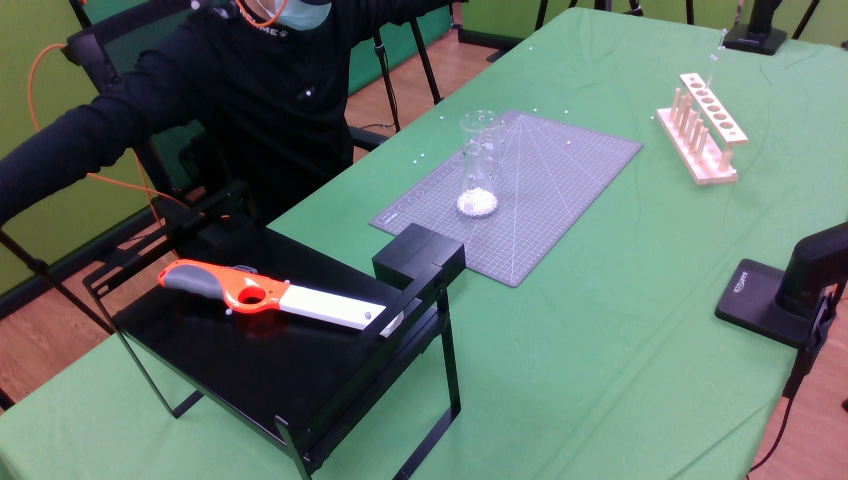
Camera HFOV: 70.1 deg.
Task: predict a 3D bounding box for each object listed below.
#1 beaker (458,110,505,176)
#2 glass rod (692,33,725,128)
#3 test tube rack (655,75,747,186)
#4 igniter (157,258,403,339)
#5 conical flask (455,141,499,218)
[{"bbox_3d":[0.106,-0.174,1.097,0.084,0.101,0.074,5,42,13],"label":"beaker"},{"bbox_3d":[0.501,-0.277,1.073,0.008,0.200,0.008,-3,50,4],"label":"glass rod"},{"bbox_3d":[0.491,-0.205,1.092,0.067,0.085,0.241,-5,40,3],"label":"test tube rack"},{"bbox_3d":[-0.157,0.059,0.638,0.275,0.025,0.057,11,43,14],"label":"igniter"},{"bbox_3d":[0.085,-0.103,0.999,0.075,0.122,0.075,-4,40,4],"label":"conical flask"}]
